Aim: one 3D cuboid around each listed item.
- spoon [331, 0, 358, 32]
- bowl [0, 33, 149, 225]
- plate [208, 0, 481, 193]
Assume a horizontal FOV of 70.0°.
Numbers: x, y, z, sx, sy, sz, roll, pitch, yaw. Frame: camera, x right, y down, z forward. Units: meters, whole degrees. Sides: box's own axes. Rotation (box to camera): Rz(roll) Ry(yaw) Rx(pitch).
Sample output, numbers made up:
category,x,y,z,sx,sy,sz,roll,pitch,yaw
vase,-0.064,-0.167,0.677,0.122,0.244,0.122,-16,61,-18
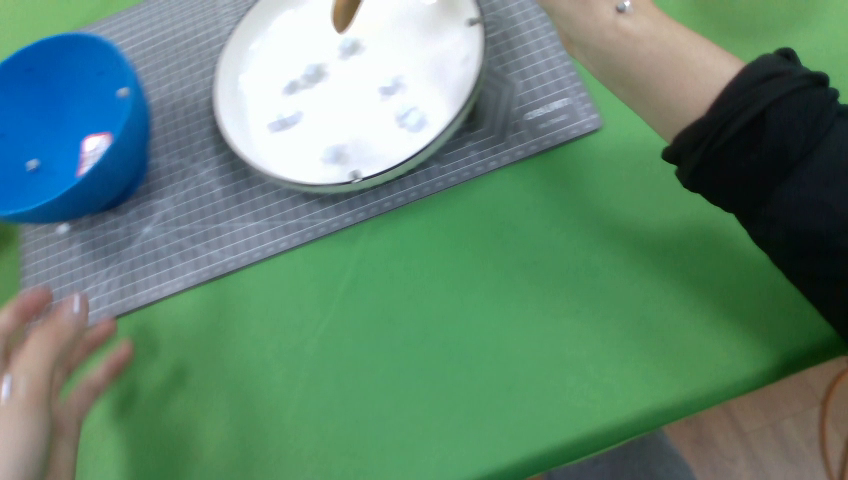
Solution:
category,x,y,z,sx,sy,sz,roll,pitch,yaw
spoon,0.005,-0.185,0.333,0.193,0.022,0.041,-33,17,35
bowl,-0.266,-0.070,0.459,0.151,0.077,0.150,-4,68,11
plate,-0.059,-0.125,0.457,0.209,0.038,0.207,-4,68,10
